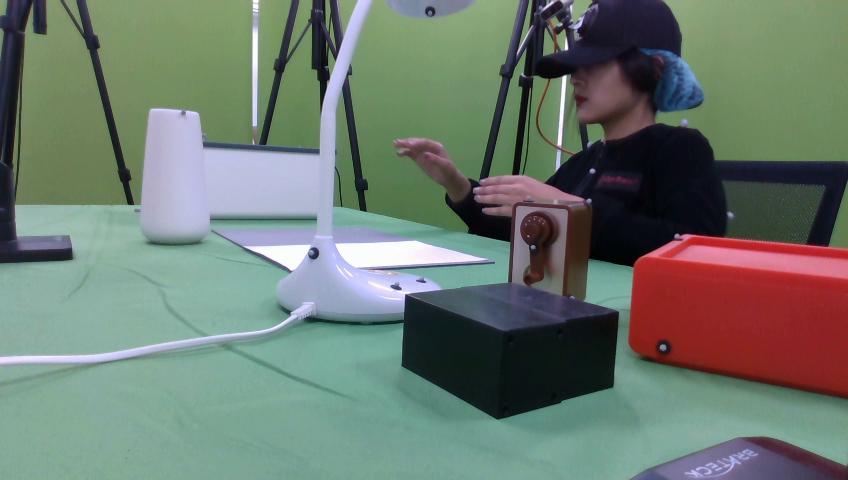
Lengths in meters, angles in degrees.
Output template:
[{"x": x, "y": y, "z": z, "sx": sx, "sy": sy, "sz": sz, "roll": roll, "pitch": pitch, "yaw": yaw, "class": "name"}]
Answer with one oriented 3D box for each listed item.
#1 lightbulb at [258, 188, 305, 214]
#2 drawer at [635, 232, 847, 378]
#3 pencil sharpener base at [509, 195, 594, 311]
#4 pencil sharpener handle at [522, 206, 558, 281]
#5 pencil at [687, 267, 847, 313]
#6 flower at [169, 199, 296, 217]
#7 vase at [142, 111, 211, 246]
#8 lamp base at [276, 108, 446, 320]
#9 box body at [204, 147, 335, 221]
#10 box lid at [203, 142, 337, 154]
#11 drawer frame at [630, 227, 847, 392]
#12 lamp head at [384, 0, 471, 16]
[{"x": -0.325, "y": -0.082, "z": 1.382, "sx": 0.108, "sy": 0.059, "sz": 0.059, "roll": -15, "pitch": 9, "yaw": -6, "class": "lightbulb"}, {"x": 0.292, "y": 0.044, "z": 0.488, "sx": 0.193, "sy": 0.073, "sz": 0.213, "roll": 7, "pitch": 9, "yaw": 30, "class": "drawer"}, {"x": 0.126, "y": 0.011, "z": 0.601, "sx": 0.061, "sy": 0.107, "sz": 0.077, "roll": 7, "pitch": 9, "yaw": 30, "class": "pencil sharpener base"}, {"x": 0.102, "y": 0.003, "z": 0.555, "sx": 0.036, "sy": 0.067, "sz": 0.031, "roll": 0, "pitch": 5, "yaw": 31, "class": "pencil sharpener handle"}, {"x": 0.308, "y": 0.044, "z": 0.515, "sx": 0.194, "sy": 0.012, "sz": 0.012, "roll": 14, "pitch": 5, "yaw": -12, "class": "pencil"}, {"x": -0.423, "y": -0.069, "z": 1.398, "sx": 0.044, "sy": 0.038, "sz": 0.363, "roll": 2, "pitch": 2, "yaw": 31, "class": "flower"}, {"x": -0.378, "y": -0.093, "z": 0.920, "sx": 0.098, "sy": 0.200, "sz": 0.098, "roll": 2, "pitch": 9, "yaw": 0, "class": "vase"}, {"x": -0.061, "y": -0.027, "z": 0.556, "sx": 0.160, "sy": 0.180, "sz": 0.180, "roll": 5, "pitch": 10, "yaw": 20, "class": "lamp base"}, {"x": -0.411, "y": -0.135, "z": 1.386, "sx": 0.366, "sy": 0.160, "sz": 0.253, "roll": -2, "pitch": 9, "yaw": -29, "class": "box body"}, {"x": -0.405, "y": -0.209, "z": 1.377, "sx": 0.373, "sy": 0.015, "sz": 0.262, "roll": -1, "pitch": 9, "yaw": -29, "class": "box lid"}, {"x": 0.292, "y": 0.043, "z": 0.484, "sx": 0.201, "sy": 0.082, "sz": 0.214, "roll": 7, "pitch": 9, "yaw": 29, "class": "drawer frame"}, {"x": -0.001, "y": -0.301, "z": 0.599, "sx": 0.112, "sy": 0.112, "sz": 0.123, "roll": 4, "pitch": -30, "yaw": 14, "class": "lamp head"}]
